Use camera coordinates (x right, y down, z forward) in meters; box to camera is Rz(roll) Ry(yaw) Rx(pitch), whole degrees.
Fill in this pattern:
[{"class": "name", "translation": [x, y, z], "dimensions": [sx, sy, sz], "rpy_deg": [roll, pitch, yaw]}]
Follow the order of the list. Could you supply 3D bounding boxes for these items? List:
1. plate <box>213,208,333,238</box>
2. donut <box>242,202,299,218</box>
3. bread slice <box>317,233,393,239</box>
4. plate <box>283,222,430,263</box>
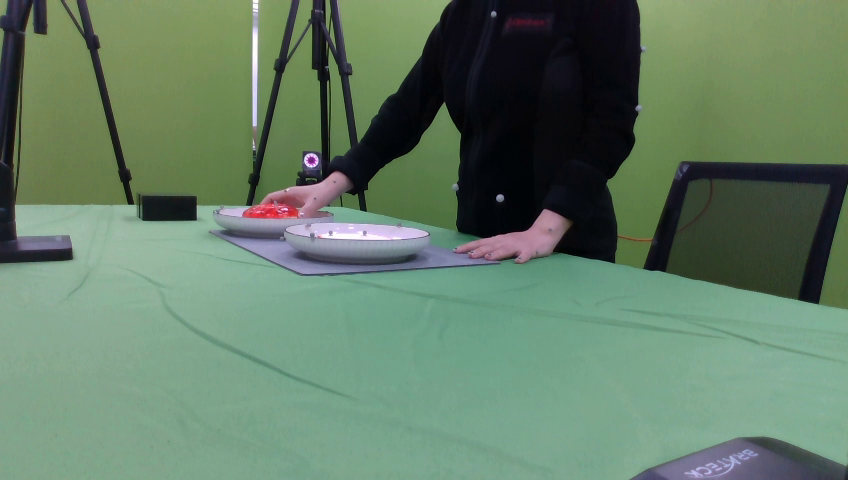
[{"class": "plate", "translation": [-0.268, -0.032, 1.084], "dimensions": [0.208, 0.039, 0.207], "rpy_deg": [2, 7, 0]}, {"class": "donut", "translation": [-0.269, -0.039, 1.057], "dimensions": [0.099, 0.048, 0.099], "rpy_deg": [-3, 11, 1]}, {"class": "bread slice", "translation": [-0.096, 0.005, 0.863], "dimensions": [0.107, 0.018, 0.133], "rpy_deg": [-1, 7, -31]}, {"class": "plate", "translation": [-0.094, 0.003, 0.868], "dimensions": [0.209, 0.038, 0.209], "rpy_deg": [2, 7, 0]}]
